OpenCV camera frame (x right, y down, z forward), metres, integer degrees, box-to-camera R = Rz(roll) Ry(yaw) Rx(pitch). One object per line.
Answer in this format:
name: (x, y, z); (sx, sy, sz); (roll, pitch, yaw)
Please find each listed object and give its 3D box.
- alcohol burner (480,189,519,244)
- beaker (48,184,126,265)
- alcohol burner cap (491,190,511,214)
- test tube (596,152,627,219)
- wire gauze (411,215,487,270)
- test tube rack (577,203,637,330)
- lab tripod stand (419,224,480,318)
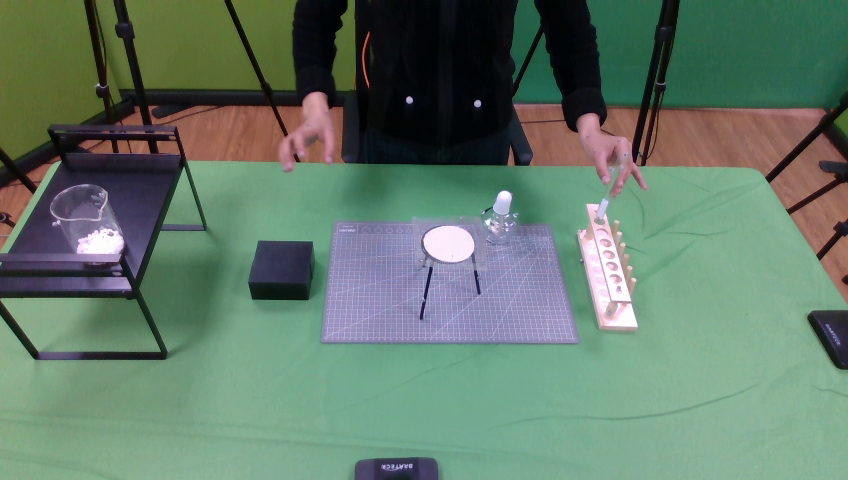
alcohol burner: (0.150, -0.051, 1.191); (0.078, 0.120, 0.077); (1, 47, -1)
beaker: (-0.479, -0.018, 0.875); (0.083, 0.101, 0.074); (30, 52, 22)
alcohol burner cap: (0.151, -0.076, 1.165); (0.034, 0.048, 0.033); (5, 50, -6)
test tube: (0.329, -0.092, 1.070); (0.017, 0.151, 0.017); (2, 47, -2)
wire gauze: (0.041, 0.002, 1.026); (0.125, 0.011, 0.120); (1, 46, -3)
test tube rack: (0.349, 0.045, 1.139); (0.067, 0.085, 0.241); (2, 46, -2)
lab tripod stand: (0.034, 0.052, 1.070); (0.148, 0.132, 0.147); (3, 48, -3)
